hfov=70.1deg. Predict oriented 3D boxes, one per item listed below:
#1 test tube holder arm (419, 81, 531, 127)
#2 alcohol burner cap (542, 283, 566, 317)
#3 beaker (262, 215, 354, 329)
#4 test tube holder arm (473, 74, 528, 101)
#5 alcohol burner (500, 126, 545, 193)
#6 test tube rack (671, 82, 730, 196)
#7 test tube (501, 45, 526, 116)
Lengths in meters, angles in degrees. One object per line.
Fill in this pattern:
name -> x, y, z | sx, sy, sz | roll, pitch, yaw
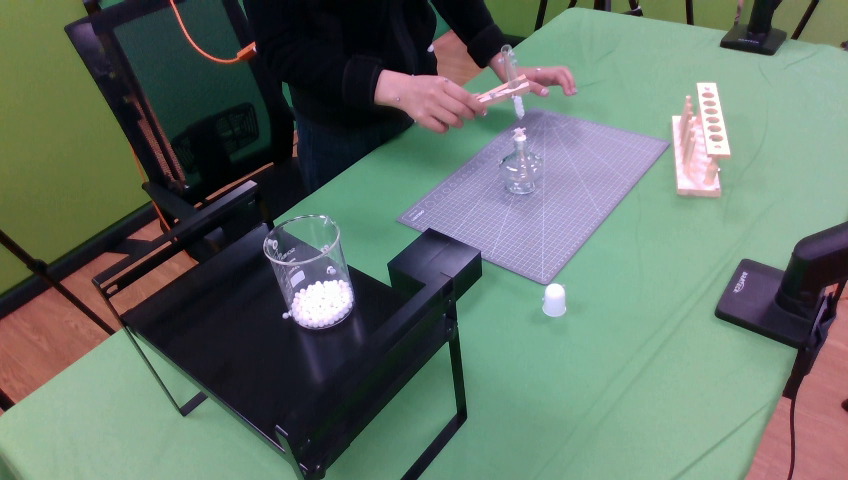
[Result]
test tube holder arm -> 0.076, -0.209, 0.933 | 0.178, 0.015, 0.013 | -18, 57, 12
alcohol burner cap -> 0.181, 0.081, 0.840 | 0.034, 0.048, 0.033 | -4, 41, 4
beaker -> -0.112, 0.034, 0.616 | 0.073, 0.101, 0.084 | 13, 44, 23
test tube holder arm -> 0.117, -0.229, 0.927 | 0.088, 0.015, 0.010 | -23, 57, 9
alcohol burner -> 0.168, -0.141, 1.039 | 0.078, 0.119, 0.077 | -6, 41, 5
test tube rack -> 0.482, -0.184, 1.067 | 0.066, 0.085, 0.242 | 6, 42, 15
test tube -> 0.137, -0.237, 0.914 | 0.017, 0.151, 0.017 | -7, 62, 14
